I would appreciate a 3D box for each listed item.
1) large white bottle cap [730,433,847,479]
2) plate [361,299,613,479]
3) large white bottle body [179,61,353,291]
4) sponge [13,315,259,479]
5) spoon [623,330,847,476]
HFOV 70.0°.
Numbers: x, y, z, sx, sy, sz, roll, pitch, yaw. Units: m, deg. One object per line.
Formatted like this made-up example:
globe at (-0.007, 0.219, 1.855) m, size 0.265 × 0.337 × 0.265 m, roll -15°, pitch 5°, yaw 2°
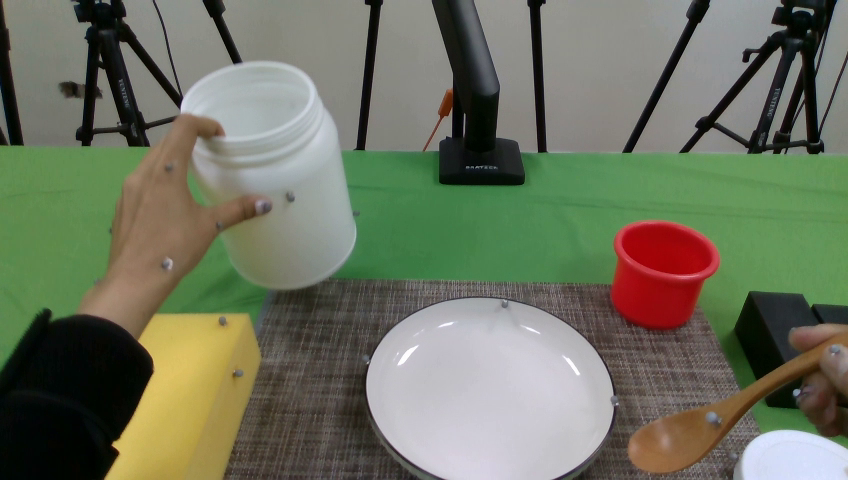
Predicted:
large white bottle cap at (0.290, 0.195, 0.449) m, size 0.115 × 0.018 × 0.113 m, roll 2°, pitch 36°, yaw -1°
plate at (0.051, 0.131, 0.516) m, size 0.209 × 0.038 × 0.207 m, roll 1°, pitch 36°, yaw 0°
large white bottle body at (-0.139, -0.055, 0.555) m, size 0.130 × 0.186 × 0.129 m, roll -1°, pitch 49°, yaw 1°
sponge at (-0.215, 0.148, 0.471) m, size 0.118 × 0.061 × 0.205 m, roll -1°, pitch 35°, yaw 1°
spoon at (0.185, 0.075, 0.316) m, size 0.022 × 0.194 × 0.041 m, roll 38°, pitch 32°, yaw -9°
